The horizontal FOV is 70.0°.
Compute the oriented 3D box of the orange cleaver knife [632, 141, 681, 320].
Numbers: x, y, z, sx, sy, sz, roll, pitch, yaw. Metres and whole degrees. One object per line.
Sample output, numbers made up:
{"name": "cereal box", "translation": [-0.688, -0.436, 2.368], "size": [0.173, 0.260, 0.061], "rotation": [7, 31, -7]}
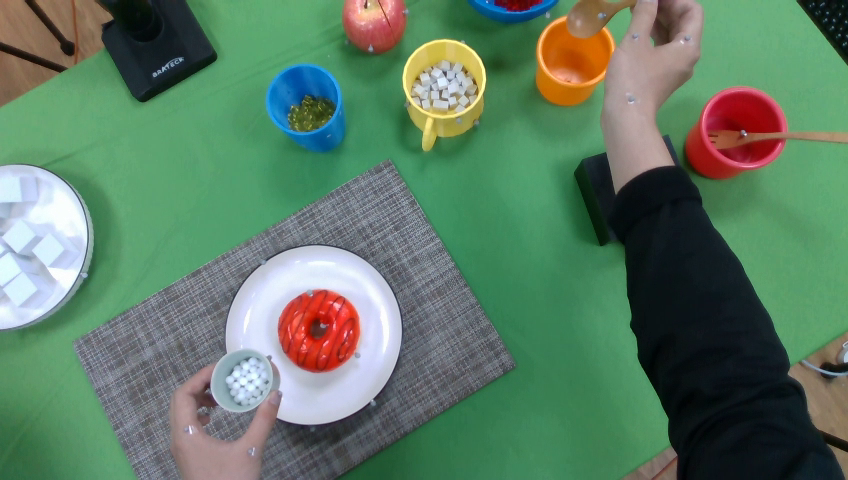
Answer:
{"name": "orange cleaver knife", "translation": [0.266, -0.009, 0.698], "size": [0.012, 0.076, 0.212], "rotation": [-16, 110, 1]}

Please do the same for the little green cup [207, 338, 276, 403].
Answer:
{"name": "little green cup", "translation": [-0.178, 0.132, 0.601], "size": [0.061, 0.039, 0.061], "rotation": [-3, 62, 5]}

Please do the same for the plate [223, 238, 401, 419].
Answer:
{"name": "plate", "translation": [-0.129, 0.102, 0.713], "size": [0.209, 0.038, 0.208], "rotation": [0, 81, 2]}

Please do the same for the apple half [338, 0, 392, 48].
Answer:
{"name": "apple half", "translation": [-0.078, -0.277, 0.759], "size": [0.053, 0.075, 0.080], "rotation": [-26, 84, 1]}

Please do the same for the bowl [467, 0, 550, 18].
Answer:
{"name": "bowl", "translation": [0.105, -0.338, 0.759], "size": [0.151, 0.077, 0.151], "rotation": [0, 81, 2]}

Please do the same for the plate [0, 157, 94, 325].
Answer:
{"name": "plate", "translation": [-0.505, 0.002, 0.747], "size": [0.207, 0.039, 0.207], "rotation": [0, 80, 2]}

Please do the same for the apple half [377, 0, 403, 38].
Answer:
{"name": "apple half", "translation": [-0.043, -0.295, 0.759], "size": [0.033, 0.081, 0.081], "rotation": [-25, 80, 0]}

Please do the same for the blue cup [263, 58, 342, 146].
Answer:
{"name": "blue cup", "translation": [-0.137, -0.156, 0.727], "size": [0.092, 0.100, 0.092], "rotation": [0, 82, 1]}

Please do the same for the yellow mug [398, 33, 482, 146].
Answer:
{"name": "yellow mug", "translation": [0.016, -0.178, 0.742], "size": [0.100, 0.064, 0.130], "rotation": [17, 83, 5]}

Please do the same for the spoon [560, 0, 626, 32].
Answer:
{"name": "spoon", "translation": [0.196, -0.237, 0.589], "size": [0.022, 0.192, 0.042], "rotation": [-14, 103, -20]}

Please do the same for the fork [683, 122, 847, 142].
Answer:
{"name": "fork", "translation": [0.396, -0.122, 0.679], "size": [0.205, 0.019, 0.028], "rotation": [10, 65, 46]}

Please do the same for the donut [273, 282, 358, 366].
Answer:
{"name": "donut", "translation": [-0.125, 0.097, 0.702], "size": [0.099, 0.048, 0.098], "rotation": [0, 82, 3]}
